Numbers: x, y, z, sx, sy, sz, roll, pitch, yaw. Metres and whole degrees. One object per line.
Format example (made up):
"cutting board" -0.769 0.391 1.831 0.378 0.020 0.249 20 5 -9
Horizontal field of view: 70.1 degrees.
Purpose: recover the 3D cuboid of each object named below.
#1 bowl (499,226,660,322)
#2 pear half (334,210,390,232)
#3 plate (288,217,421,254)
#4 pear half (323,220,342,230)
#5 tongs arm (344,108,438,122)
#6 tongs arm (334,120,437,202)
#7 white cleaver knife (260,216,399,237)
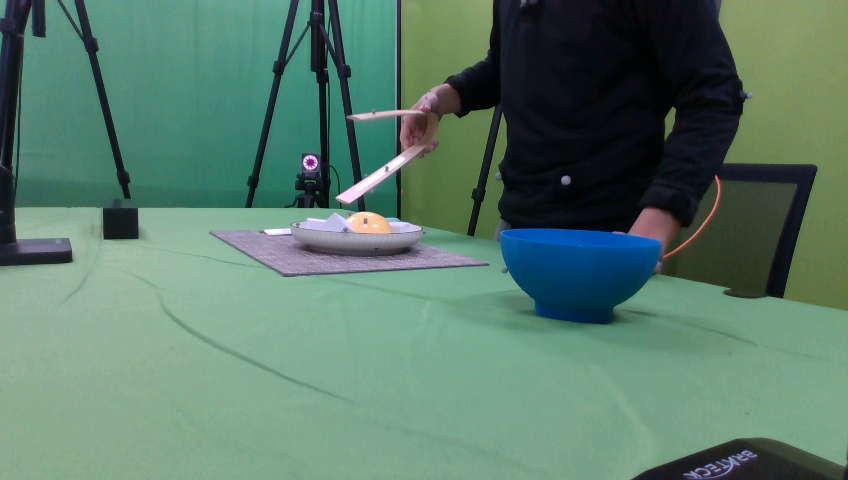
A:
"bowl" 0.145 0.032 0.583 0.151 0.077 0.151 2 7 0
"pear half" -0.107 -0.017 0.920 0.110 0.056 0.076 -5 5 -20
"plate" -0.109 -0.007 0.956 0.208 0.039 0.207 2 7 0
"pear half" -0.127 -0.019 1.001 0.088 0.031 0.070 9 4 1
"tongs arm" -0.044 -0.218 1.065 0.027 0.028 0.388 12 15 17
"tongs arm" -0.056 -0.153 1.094 0.026 0.051 0.385 16 27 16
"white cleaver knife" -0.169 -0.021 1.157 0.288 0.021 0.065 -7 21 -33
